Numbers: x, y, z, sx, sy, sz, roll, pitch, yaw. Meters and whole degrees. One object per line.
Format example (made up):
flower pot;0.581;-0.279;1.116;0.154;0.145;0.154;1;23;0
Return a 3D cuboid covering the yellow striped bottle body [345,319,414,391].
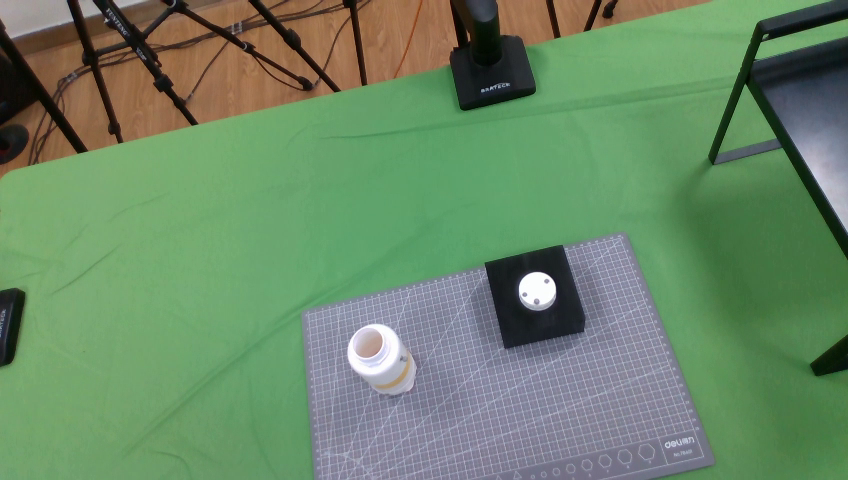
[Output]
yellow striped bottle body;-0.054;0.135;0.717;0.063;0.121;0.062;-4;63;9

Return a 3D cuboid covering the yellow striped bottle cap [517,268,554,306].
yellow striped bottle cap;0.133;0.056;0.723;0.044;0.019;0.044;-4;66;8
